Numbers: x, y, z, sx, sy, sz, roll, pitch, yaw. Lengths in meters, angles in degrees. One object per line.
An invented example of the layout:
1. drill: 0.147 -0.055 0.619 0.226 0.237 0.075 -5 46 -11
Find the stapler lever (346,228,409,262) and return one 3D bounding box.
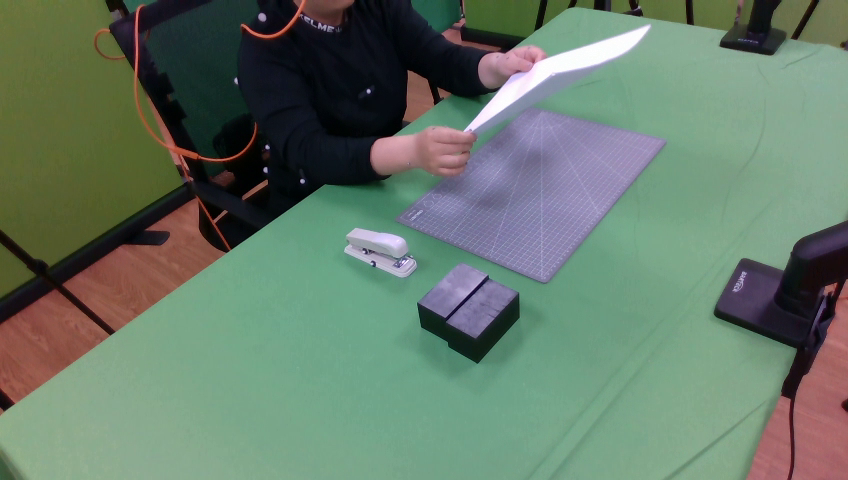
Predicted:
1. stapler lever: -0.074 0.002 0.950 0.117 0.040 0.027 20 46 30

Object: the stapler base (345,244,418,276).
1. stapler base: -0.070 0.020 0.964 0.129 0.024 0.041 19 45 31
